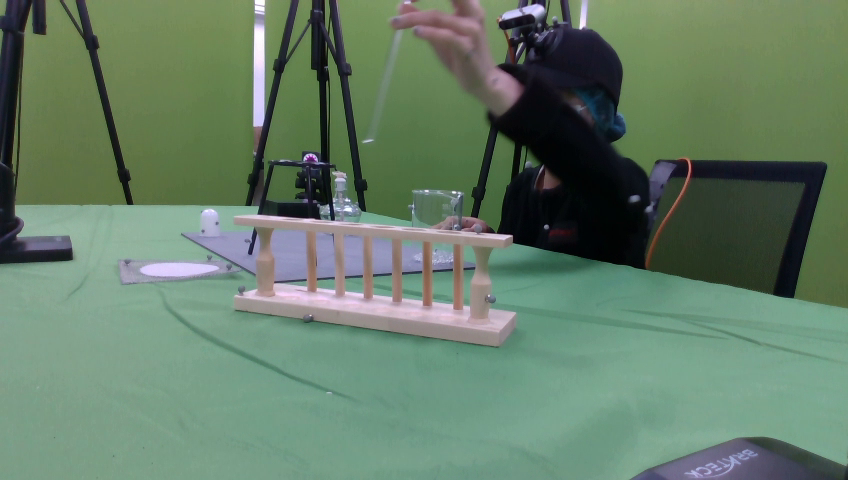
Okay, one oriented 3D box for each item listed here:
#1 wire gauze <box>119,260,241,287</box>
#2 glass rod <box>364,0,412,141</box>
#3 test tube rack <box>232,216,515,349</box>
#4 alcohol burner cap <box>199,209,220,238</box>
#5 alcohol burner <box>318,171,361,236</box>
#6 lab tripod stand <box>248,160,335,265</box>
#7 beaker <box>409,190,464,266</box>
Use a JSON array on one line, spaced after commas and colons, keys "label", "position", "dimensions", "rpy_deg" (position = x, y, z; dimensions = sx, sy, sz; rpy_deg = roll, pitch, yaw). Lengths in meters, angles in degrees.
[{"label": "wire gauze", "position": [-0.288, 0.034, 0.706], "dimensions": [0.122, 0.011, 0.124], "rpy_deg": [-3, 10, -29]}, {"label": "glass rod", "position": [-0.029, -0.193, 0.598], "dimensions": [0.008, 0.199, 0.008], "rpy_deg": [17, 0, 0]}, {"label": "test tube rack", "position": [-0.045, 0.029, 0.525], "dimensions": [0.241, 0.085, 0.067], "rpy_deg": [5, 7, 19]}, {"label": "alcohol burner cap", "position": [-0.356, -0.027, 1.002], "dimensions": [0.034, 0.048, 0.034], "rpy_deg": [2, 7, 0]}, {"label": "alcohol burner", "position": [-0.155, -0.067, 1.104], "dimensions": [0.078, 0.119, 0.078], "rpy_deg": [1, 8, 0]}, {"label": "lab tripod stand", "position": [-0.165, -0.041, 0.817], "dimensions": [0.148, 0.131, 0.148], "rpy_deg": [5, 7, 0]}, {"label": "beaker", "position": [0.018, -0.017, 0.840], "dimensions": [0.074, 0.100, 0.083], "rpy_deg": [-3, 10, -35]}]
